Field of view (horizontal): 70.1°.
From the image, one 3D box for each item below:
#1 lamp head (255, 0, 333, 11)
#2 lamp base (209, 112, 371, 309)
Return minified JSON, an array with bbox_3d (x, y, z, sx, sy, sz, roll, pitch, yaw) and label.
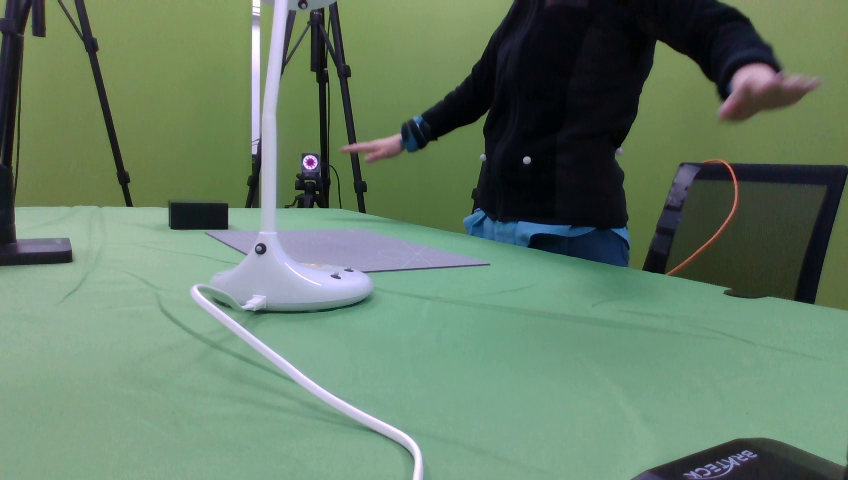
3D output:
[{"bbox_3d":[-0.141,-0.318,0.630,0.113,0.112,0.123,1,-32,-9],"label":"lamp head"},{"bbox_3d":[-0.133,-0.032,0.594,0.160,0.180,0.179,2,10,3],"label":"lamp base"}]
